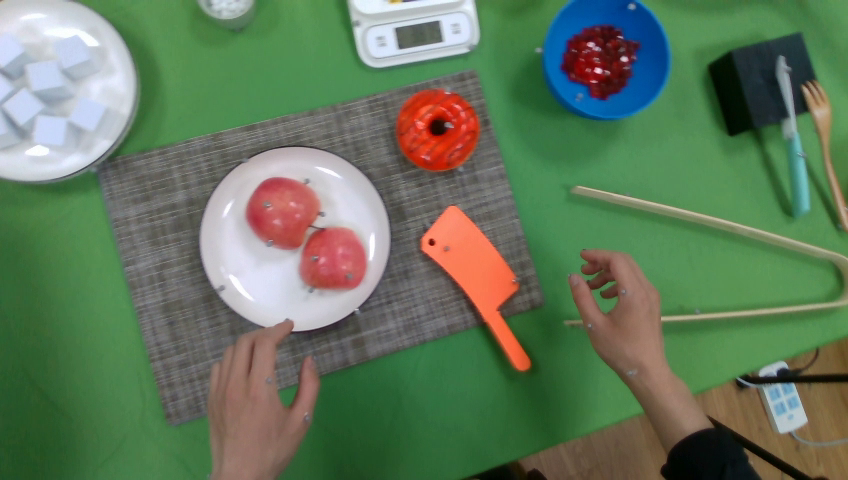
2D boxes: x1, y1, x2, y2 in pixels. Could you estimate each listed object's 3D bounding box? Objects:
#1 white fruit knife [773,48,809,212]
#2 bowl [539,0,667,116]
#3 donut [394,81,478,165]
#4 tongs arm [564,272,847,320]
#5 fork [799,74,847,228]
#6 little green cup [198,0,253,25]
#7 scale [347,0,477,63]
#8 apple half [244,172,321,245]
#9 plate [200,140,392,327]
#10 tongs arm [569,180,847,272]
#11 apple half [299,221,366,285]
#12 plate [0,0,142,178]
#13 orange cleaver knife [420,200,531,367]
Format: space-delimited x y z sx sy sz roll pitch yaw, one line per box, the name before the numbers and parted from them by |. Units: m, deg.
white fruit knife | 0.452 -0.133 0.750 0.016 0.027 0.208 -19 103 -8
bowl | 0.202 -0.214 0.724 0.152 0.077 0.151 0 87 -7
donut | 0.013 -0.136 0.708 0.099 0.048 0.099 0 87 -5
tongs arm | 0.360 0.067 0.747 0.385 0.026 0.050 -1 82 -8
fork | 0.510 -0.109 0.764 0.028 0.018 0.208 -27 105 -11
little green cup | -0.226 -0.279 0.693 0.061 0.038 0.061 1 86 -7
scale | -0.024 -0.321 0.725 0.149 0.031 0.200 -12 88 -7
apple half | -0.157 -0.039 0.667 0.074 0.053 0.080 34 82 0
plate | -0.141 -0.007 0.683 0.209 0.038 0.208 1 86 -7
tongs arm | 0.366 -0.020 0.757 0.388 0.028 0.028 14 76 -6
apple half | -0.104 0.015 0.679 0.081 0.033 0.081 0 89 -4
plate | -0.415 -0.168 0.662 0.208 0.039 0.207 1 86 -7
orange cleaver knife | 0.075 0.050 0.716 0.077 0.012 0.211 -35 90 -13
